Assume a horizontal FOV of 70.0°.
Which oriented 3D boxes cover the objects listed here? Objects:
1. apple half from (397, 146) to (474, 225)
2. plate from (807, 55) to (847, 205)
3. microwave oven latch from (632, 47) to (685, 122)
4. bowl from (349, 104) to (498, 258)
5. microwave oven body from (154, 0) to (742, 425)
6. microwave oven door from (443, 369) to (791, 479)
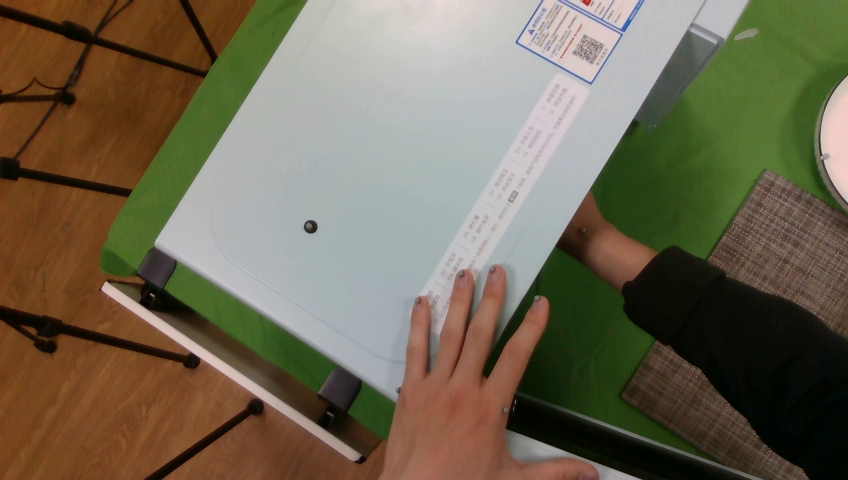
[{"bbox_3d":[0.012,-0.053,0.610,0.081,0.033,0.081,1,96,7],"label":"apple half"},{"bbox_3d":[0.516,-0.114,0.649,0.207,0.039,0.207,-1,85,6],"label":"plate"},{"bbox_3d":[0.253,-0.171,0.664,0.030,0.029,0.079,31,89,8],"label":"microwave oven latch"},{"bbox_3d":[0.008,-0.055,0.622,0.151,0.077,0.151,-1,88,17],"label":"bowl"},{"bbox_3d":[0.024,-0.107,0.584,0.325,0.261,0.441,31,89,8],"label":"microwave oven body"},{"bbox_3d":[0.196,0.200,0.533,0.355,0.244,0.039,18,86,8],"label":"microwave oven door"}]
